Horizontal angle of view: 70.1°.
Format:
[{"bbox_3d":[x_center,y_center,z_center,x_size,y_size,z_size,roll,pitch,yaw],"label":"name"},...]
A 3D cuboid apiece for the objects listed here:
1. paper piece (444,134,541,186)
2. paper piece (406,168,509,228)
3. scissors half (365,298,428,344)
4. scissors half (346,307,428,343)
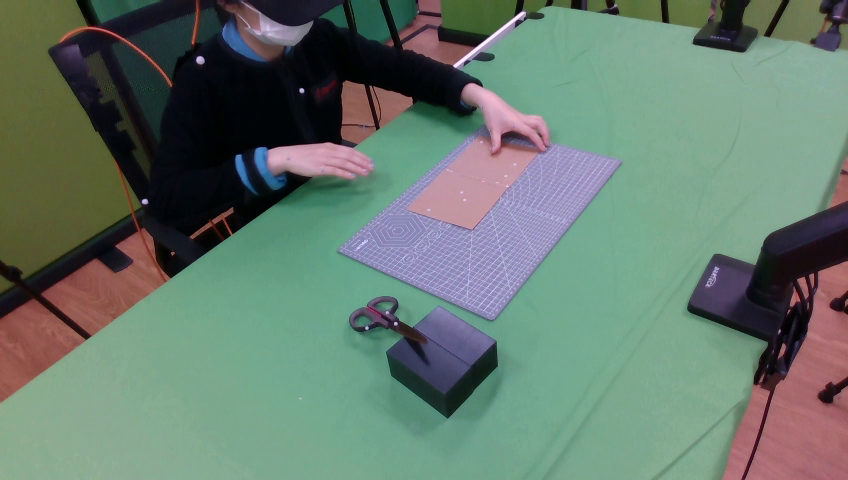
[{"bbox_3d":[0.131,-0.154,1.136,0.135,0.009,0.138,22,47,25],"label":"paper piece"},{"bbox_3d":[0.059,-0.076,1.055,0.134,0.004,0.136,19,46,28],"label":"paper piece"},{"bbox_3d":[-0.035,0.107,0.808,0.040,0.013,0.174,-26,22,-18],"label":"scissors half"},{"bbox_3d":[-0.051,0.115,0.799,0.040,0.013,0.174,-28,23,-36],"label":"scissors half"}]
